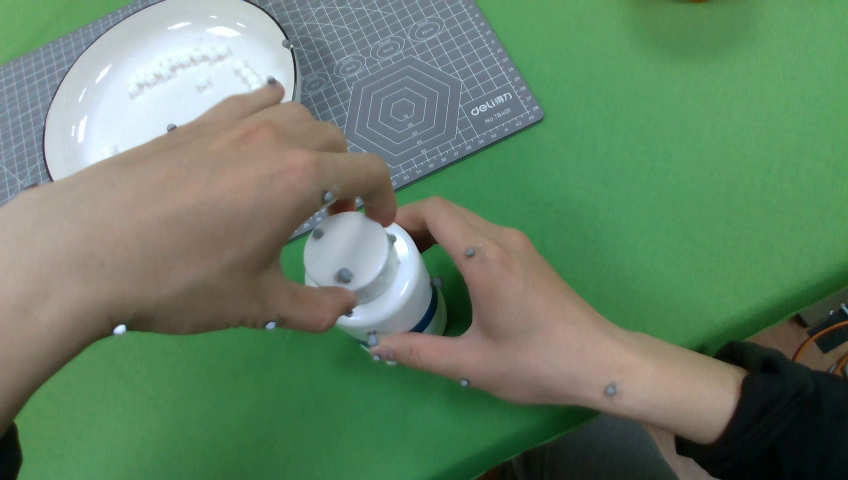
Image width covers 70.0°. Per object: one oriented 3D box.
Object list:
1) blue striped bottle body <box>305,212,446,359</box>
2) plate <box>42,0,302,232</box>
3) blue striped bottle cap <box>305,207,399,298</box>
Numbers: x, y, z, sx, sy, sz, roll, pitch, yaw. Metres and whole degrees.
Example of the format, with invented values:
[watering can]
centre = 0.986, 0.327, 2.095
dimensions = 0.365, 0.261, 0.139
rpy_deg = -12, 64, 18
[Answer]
[blue striped bottle body]
centre = -0.026, 0.026, 0.347
dimensions = 0.063, 0.122, 0.062
rpy_deg = -4, 67, 10
[plate]
centre = -0.190, -0.098, 0.472
dimensions = 0.207, 0.039, 0.206
rpy_deg = -4, 68, 10
[blue striped bottle cap]
centre = -0.036, 0.006, 0.301
dimensions = 0.044, 0.021, 0.044
rpy_deg = -4, 70, 12
